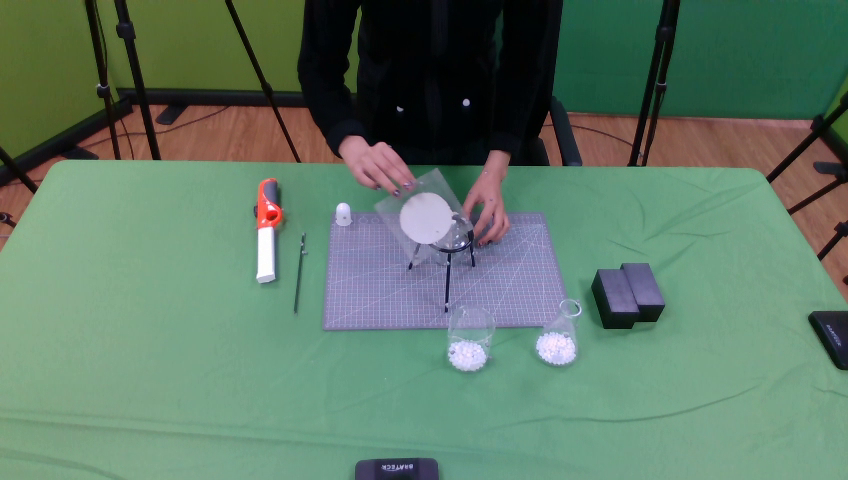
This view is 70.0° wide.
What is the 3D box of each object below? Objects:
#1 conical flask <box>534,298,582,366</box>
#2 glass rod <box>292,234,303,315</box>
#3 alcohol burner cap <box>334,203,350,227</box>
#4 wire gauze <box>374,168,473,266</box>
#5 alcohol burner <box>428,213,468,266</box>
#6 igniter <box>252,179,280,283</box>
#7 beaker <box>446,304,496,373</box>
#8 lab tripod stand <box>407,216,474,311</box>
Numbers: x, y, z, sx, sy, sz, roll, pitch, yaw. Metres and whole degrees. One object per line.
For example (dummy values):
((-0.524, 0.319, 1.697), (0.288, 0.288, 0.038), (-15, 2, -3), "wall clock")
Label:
((0.229, 0.149, 1.005), (0.075, 0.122, 0.075), (2, 46, -2), "conical flask")
((-0.236, 0.060, 1.134), (0.008, 0.008, 0.198), (-1, 46, -4), "glass rod")
((-0.166, -0.053, 1.220), (0.034, 0.048, 0.033), (2, 46, -2), "alcohol burner cap")
((0.002, -0.038, 1.005), (0.125, 0.011, 0.121), (-32, 98, -4), "wire gauze")
((0.047, -0.007, 1.143), (0.078, 0.120, 0.077), (1, 48, -1), "alcohol burner")
((-0.312, -0.027, 1.197), (0.057, 0.025, 0.274), (-12, 47, -1), "igniter")
((0.072, 0.166, 0.992), (0.084, 0.101, 0.073), (-21, 51, -22), "beaker")
((0.039, 0.030, 1.092), (0.148, 0.132, 0.147), (2, 44, -2), "lab tripod stand")
